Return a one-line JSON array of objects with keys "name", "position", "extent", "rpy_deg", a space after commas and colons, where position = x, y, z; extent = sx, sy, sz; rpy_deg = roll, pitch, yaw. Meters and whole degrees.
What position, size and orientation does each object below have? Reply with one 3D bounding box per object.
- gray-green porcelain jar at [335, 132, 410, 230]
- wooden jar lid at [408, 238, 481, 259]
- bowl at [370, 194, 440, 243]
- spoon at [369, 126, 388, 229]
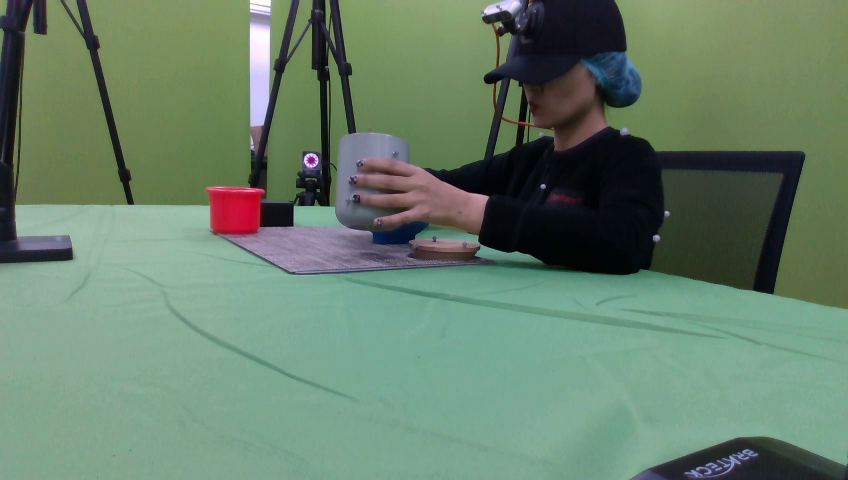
[{"name": "gray-green porcelain jar", "position": [-0.075, -0.081, 0.874], "extent": [0.106, 0.126, 0.106], "rpy_deg": [1, -7, 1]}, {"name": "wooden jar lid", "position": [0.031, 0.012, 0.895], "extent": [0.108, 0.020, 0.108], "rpy_deg": [2, 8, 0]}, {"name": "bowl", "position": [-0.050, -0.038, 1.033], "extent": [0.151, 0.077, 0.151], "rpy_deg": [3, 7, 0]}, {"name": "spoon", "position": [-0.081, -0.110, 1.057], "extent": [0.021, 0.193, 0.042], "rpy_deg": [-8, -16, 11]}]
